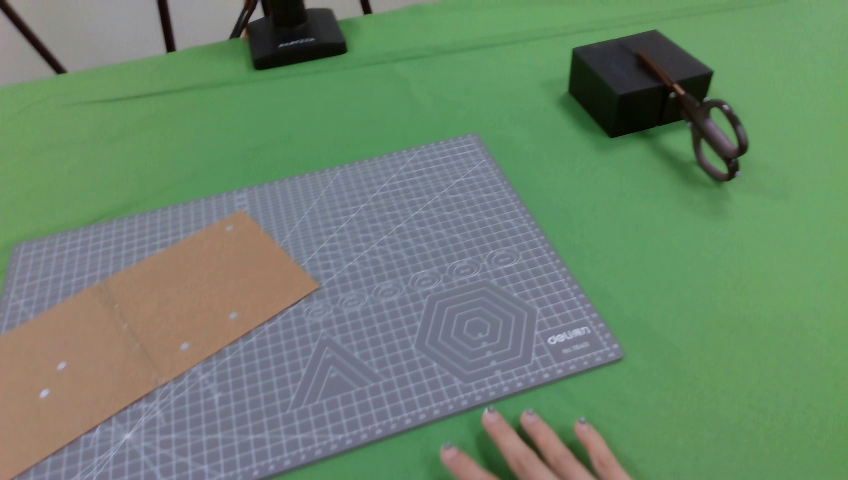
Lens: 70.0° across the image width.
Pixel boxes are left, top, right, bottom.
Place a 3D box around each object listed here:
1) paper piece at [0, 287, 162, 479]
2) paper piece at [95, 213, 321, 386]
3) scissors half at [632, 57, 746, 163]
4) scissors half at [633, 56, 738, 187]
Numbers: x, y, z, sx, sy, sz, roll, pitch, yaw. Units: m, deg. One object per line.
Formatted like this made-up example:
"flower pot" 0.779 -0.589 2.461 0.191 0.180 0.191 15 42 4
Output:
"paper piece" -0.280 0.103 0.441 0.136 0.004 0.134 -32 48 -25
"paper piece" -0.178 0.039 0.499 0.138 0.009 0.134 -31 53 -26
"scissors half" 0.240 -0.130 0.564 0.013 0.040 0.173 -22 44 -2
"scissors half" 0.244 -0.118 0.580 0.013 0.040 0.173 -19 62 -6
